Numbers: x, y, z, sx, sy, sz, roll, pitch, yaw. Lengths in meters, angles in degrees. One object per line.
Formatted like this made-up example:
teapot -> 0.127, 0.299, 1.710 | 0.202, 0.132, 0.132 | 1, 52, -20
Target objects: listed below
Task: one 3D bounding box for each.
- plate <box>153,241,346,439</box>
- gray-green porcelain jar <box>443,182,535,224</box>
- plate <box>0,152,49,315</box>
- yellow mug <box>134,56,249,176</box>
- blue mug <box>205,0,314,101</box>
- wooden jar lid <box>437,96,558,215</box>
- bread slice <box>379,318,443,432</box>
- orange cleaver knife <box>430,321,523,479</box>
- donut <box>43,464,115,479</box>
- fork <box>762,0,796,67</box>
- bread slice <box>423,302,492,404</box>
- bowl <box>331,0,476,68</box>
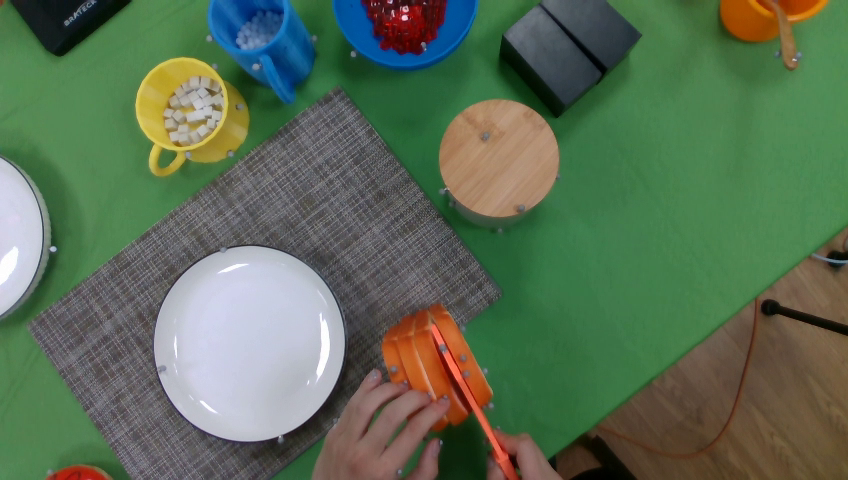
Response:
plate -> -0.184, 0.106, 0.655 | 0.209, 0.038, 0.208 | 0, 87, 3
gray-green porcelain jar -> 0.070, -0.071, 0.611 | 0.106, 0.127, 0.105 | 0, 86, 3
plate -> -0.518, -0.006, 0.682 | 0.207, 0.039, 0.207 | 0, 87, 3
yellow mug -> -0.259, -0.128, 0.661 | 0.100, 0.064, 0.131 | 30, 90, 5
blue mug -> -0.165, -0.204, 0.641 | 0.082, 0.106, 0.116 | -18, 86, 2
wooden jar lid -> 0.066, -0.076, 0.549 | 0.108, 0.021, 0.108 | 0, 86, 0
bread slice -> -0.012, 0.131, 0.603 | 0.018, 0.134, 0.106 | -26, 85, 5
orange cleaver knife -> 0.056, 0.167, 0.574 | 0.012, 0.076, 0.213 | -28, 114, -1
donut -> -0.375, 0.292, 0.656 | 0.099, 0.048, 0.099 | 0, 85, 1
fork -> 0.343, -0.222, 0.593 | 0.028, 0.019, 0.206 | 23, 44, -2
bread slice -> 0.034, 0.111, 0.600 | 0.019, 0.131, 0.105 | -29, 90, -5
bowl -> -0.018, -0.249, 0.649 | 0.151, 0.077, 0.151 | 0, 87, 3
